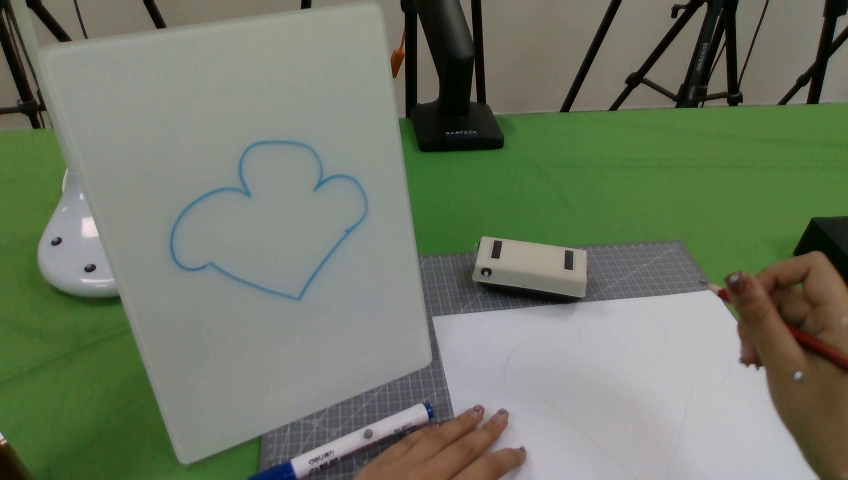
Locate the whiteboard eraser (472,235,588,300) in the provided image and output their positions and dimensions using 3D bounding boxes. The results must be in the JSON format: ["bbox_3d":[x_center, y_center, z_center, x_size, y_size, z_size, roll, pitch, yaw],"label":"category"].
[{"bbox_3d":[0.108,0.029,0.614,0.112,0.042,0.055,9,40,7],"label":"whiteboard eraser"}]

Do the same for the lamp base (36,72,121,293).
[{"bbox_3d":[-0.323,-0.065,0.596,0.178,0.182,0.160,23,43,26],"label":"lamp base"}]

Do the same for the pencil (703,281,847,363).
[{"bbox_3d":[0.233,0.062,0.338,0.012,0.012,0.192,-15,26,-20],"label":"pencil"}]

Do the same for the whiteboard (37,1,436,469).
[{"bbox_3d":[-0.134,-0.017,0.497,0.218,0.307,0.142,-17,24,-22],"label":"whiteboard"}]

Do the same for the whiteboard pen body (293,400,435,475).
[{"bbox_3d":[-0.055,0.154,0.462,0.141,0.017,0.017,-17,43,-22],"label":"whiteboard pen body"}]

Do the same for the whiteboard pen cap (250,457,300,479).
[{"bbox_3d":[-0.108,0.171,0.440,0.033,0.018,0.018,-18,43,-22],"label":"whiteboard pen cap"}]

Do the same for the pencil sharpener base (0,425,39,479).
[{"bbox_3d":[-0.291,0.160,0.378,0.061,0.108,0.076,30,47,29],"label":"pencil sharpener base"}]
